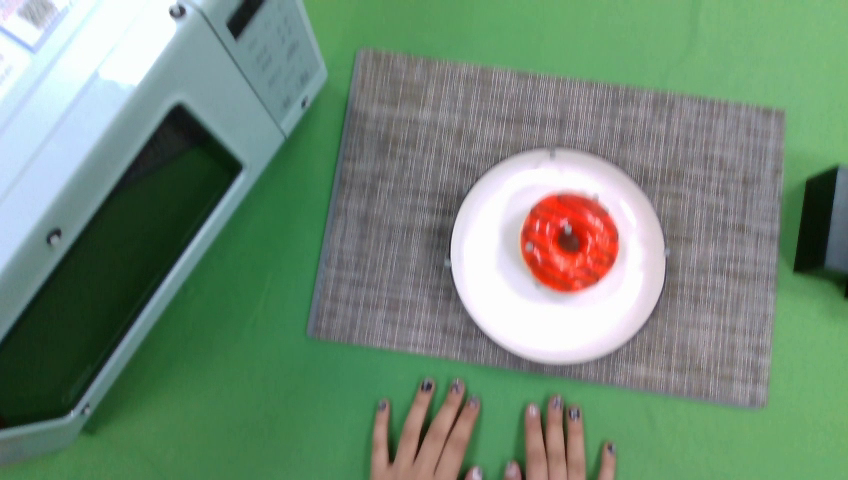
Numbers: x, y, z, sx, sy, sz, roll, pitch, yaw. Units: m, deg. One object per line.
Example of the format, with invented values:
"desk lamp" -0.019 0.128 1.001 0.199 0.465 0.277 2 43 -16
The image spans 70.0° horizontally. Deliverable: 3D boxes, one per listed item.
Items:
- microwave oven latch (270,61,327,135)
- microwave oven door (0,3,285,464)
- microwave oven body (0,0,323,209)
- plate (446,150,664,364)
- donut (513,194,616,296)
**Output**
"microwave oven latch" -0.128 -0.145 0.602 0.030 0.029 0.079 33 83 4
"microwave oven door" -0.249 0.018 0.472 0.039 0.244 0.355 33 82 5
"microwave oven body" -0.349 -0.096 0.493 0.325 0.261 0.441 33 83 4
"plate" 0.126 0.016 0.594 0.209 0.038 0.208 0 81 -1
"donut" 0.135 0.004 0.585 0.099 0.048 0.099 0 83 -3
